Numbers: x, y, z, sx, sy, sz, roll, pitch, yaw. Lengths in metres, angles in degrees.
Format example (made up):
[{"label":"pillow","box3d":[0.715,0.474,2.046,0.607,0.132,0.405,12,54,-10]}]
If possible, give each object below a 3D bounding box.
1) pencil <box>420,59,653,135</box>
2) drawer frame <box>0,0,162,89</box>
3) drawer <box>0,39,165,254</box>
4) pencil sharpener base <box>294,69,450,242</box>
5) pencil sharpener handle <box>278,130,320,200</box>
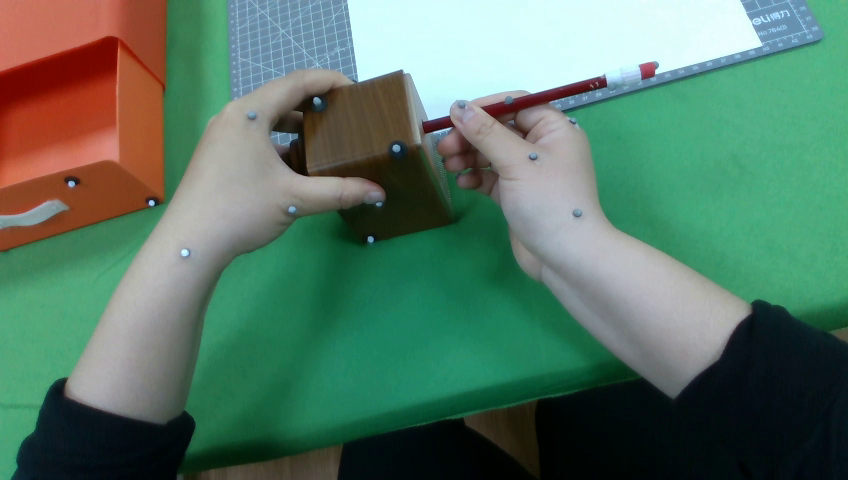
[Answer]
[{"label":"pencil","box3d":[0.041,-0.079,0.369,0.194,0.012,0.012,-14,65,8]},{"label":"drawer frame","box3d":[-0.351,-0.209,0.562,0.201,0.083,0.211,-16,64,7]},{"label":"drawer","box3d":[-0.327,-0.105,0.514,0.194,0.074,0.210,-16,64,7]},{"label":"pencil sharpener base","box3d":[-0.032,-0.050,0.404,0.076,0.108,0.061,-14,64,8]},{"label":"pencil sharpener handle","box3d":[-0.084,-0.044,0.401,0.030,0.068,0.035,-14,70,8]}]
